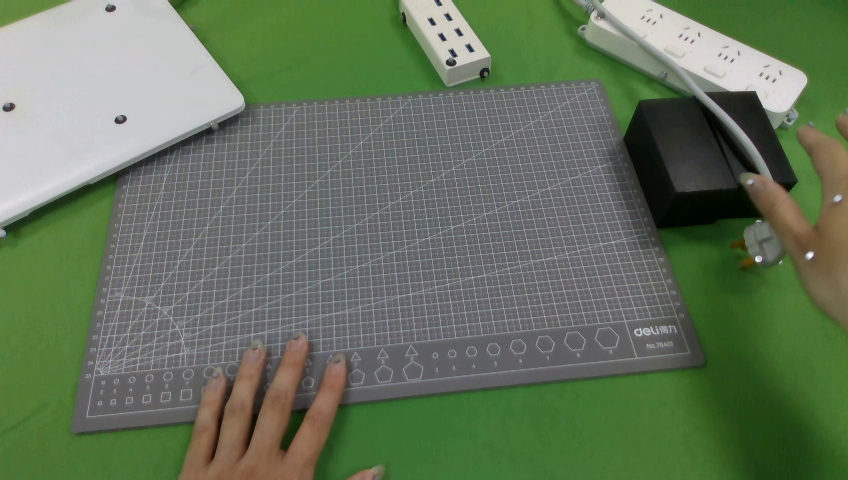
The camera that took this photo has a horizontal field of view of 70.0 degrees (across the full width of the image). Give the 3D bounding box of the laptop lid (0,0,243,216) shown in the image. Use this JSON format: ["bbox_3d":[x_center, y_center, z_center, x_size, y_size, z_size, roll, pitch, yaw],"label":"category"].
[{"bbox_3d":[-0.371,-0.124,0.541,0.357,0.013,0.239,-30,65,-18],"label":"laptop lid"}]

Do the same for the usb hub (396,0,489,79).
[{"bbox_3d":[0.016,-0.218,0.615,0.049,0.025,0.124,-21,61,-12],"label":"usb hub"}]

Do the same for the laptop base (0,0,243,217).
[{"bbox_3d":[-0.372,-0.119,0.552,0.354,0.023,0.233,-32,67,-18],"label":"laptop base"}]

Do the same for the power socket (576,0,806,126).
[{"bbox_3d":[0.260,-0.187,0.596,0.225,0.033,0.072,35,64,19],"label":"power socket"}]

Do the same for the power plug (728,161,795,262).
[{"bbox_3d":[0.265,-0.018,0.481,0.035,0.053,0.072,17,60,-21],"label":"power plug"}]
